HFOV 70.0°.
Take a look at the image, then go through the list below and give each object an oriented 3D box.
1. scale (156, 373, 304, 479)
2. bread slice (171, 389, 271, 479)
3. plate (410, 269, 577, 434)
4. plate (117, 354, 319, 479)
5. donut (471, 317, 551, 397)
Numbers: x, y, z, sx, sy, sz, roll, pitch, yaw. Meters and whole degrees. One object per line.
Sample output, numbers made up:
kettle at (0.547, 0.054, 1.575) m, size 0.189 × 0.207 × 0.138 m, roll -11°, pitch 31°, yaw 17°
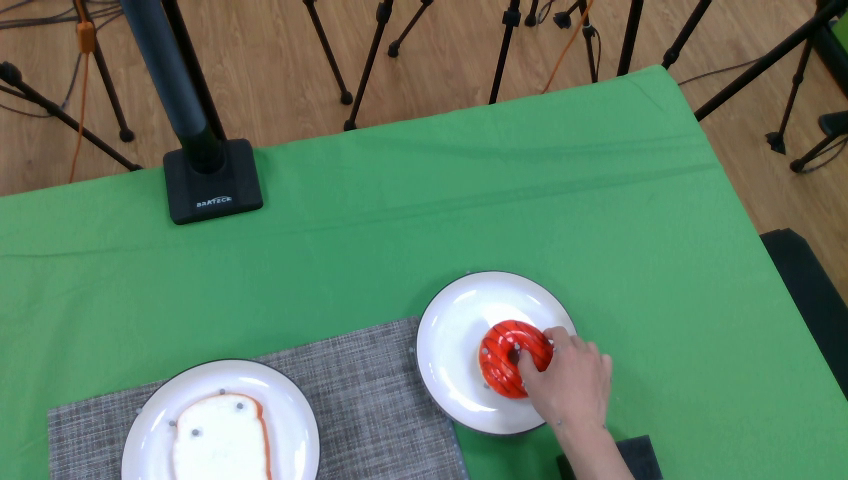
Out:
scale at (-0.215, 0.259, 0.681) m, size 0.149 × 0.032 × 0.199 m, roll -13°, pitch 68°, yaw -10°
bread slice at (-0.224, 0.230, 0.659) m, size 0.105 × 0.019 × 0.130 m, roll -9°, pitch 67°, yaw -10°
plate at (0.086, 0.139, 0.761) m, size 0.208 × 0.039 × 0.206 m, roll 2°, pitch 66°, yaw -4°
plate at (-0.218, 0.229, 0.658) m, size 0.209 × 0.038 × 0.207 m, roll 2°, pitch 66°, yaw -4°
donut at (0.107, 0.144, 0.748) m, size 0.099 × 0.048 × 0.098 m, roll 3°, pitch 69°, yaw -7°
